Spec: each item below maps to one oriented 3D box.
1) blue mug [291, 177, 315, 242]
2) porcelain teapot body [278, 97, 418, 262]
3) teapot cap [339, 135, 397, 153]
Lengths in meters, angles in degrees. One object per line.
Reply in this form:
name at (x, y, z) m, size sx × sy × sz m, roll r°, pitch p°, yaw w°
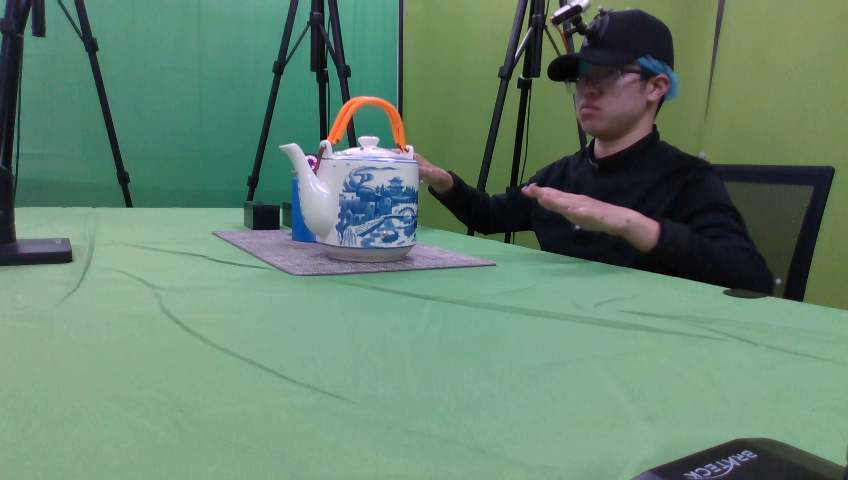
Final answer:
blue mug at (-0.170, -0.054, 1.037) m, size 0.117 × 0.106 × 0.082 m, roll -2°, pitch 9°, yaw -31°
porcelain teapot body at (-0.104, -0.086, 0.842) m, size 0.206 × 0.225 × 0.144 m, roll -4°, pitch 10°, yaw -38°
teapot cap at (-0.080, -0.126, 0.853) m, size 0.085 × 0.044 × 0.085 m, roll -1°, pitch 5°, yaw 0°
